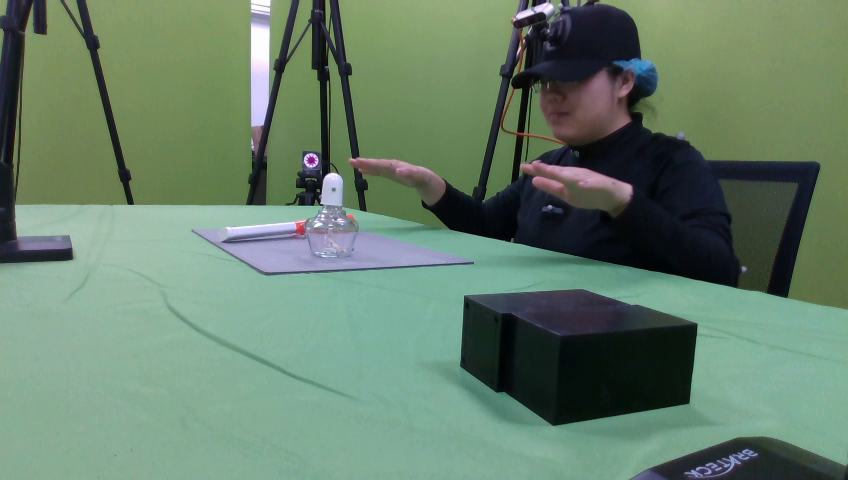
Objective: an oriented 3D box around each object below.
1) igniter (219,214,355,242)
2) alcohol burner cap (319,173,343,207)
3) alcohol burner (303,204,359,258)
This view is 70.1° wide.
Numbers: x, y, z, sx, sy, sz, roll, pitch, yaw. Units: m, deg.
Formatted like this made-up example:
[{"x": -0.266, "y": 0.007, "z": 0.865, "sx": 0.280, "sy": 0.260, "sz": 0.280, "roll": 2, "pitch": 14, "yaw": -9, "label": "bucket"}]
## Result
[{"x": -0.219, "y": -0.021, "z": 1.033, "sx": 0.057, "sy": 0.025, "sz": 0.278, "roll": -20, "pitch": -7, "yaw": 39, "label": "igniter"}, {"x": -0.129, "y": -0.070, "z": 0.845, "sx": 0.034, "sy": 0.048, "sz": 0.034, "roll": 4, "pitch": 4, "yaw": 0, "label": "alcohol burner cap"}, {"x": -0.130, "y": -0.035, "z": 0.850, "sx": 0.078, "sy": 0.119, "sz": 0.078, "roll": 2, "pitch": 5, "yaw": 0, "label": "alcohol burner"}]
